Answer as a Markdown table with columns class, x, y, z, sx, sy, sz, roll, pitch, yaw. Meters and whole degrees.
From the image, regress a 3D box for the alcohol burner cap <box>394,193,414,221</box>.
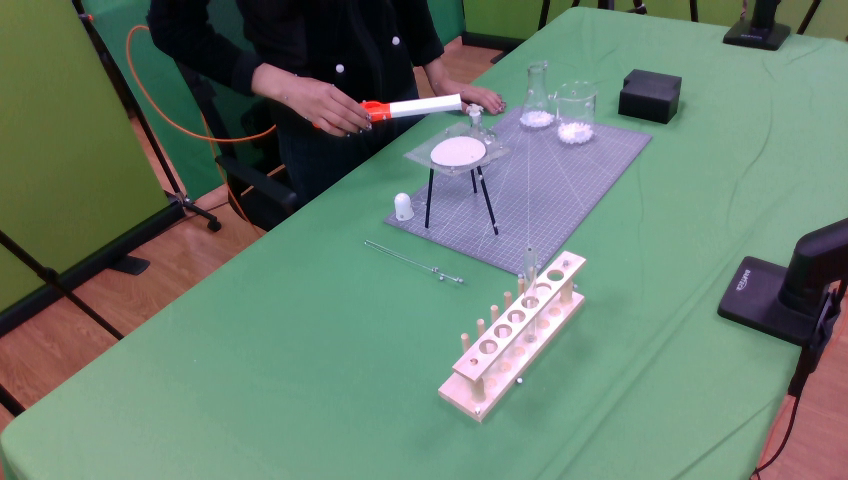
| class | x | y | z | sx | sy | sz | roll | pitch | yaw |
| --- | --- | --- | --- | --- | --- | --- | --- | --- | --- |
| alcohol burner cap | -0.036 | -0.059 | 1.040 | 0.034 | 0.048 | 0.033 | -5 | 41 | 5 |

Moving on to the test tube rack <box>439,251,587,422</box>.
| class | x | y | z | sx | sy | sz | roll | pitch | yaw |
| --- | --- | --- | --- | --- | --- | --- | --- | --- | --- |
| test tube rack | 0.118 | 0.111 | 0.780 | 0.066 | 0.085 | 0.243 | 26 | 51 | 35 |

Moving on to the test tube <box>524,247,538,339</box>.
| class | x | y | z | sx | sy | sz | roll | pitch | yaw |
| --- | --- | --- | --- | --- | --- | --- | --- | --- | --- |
| test tube | 0.133 | 0.070 | 0.749 | 0.017 | 0.151 | 0.017 | -5 | 38 | 4 |

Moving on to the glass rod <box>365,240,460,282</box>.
| class | x | y | z | sx | sy | sz | roll | pitch | yaw |
| --- | --- | --- | --- | --- | --- | --- | --- | --- | --- |
| glass rod | -0.022 | 0.032 | 0.961 | 0.198 | 0.008 | 0.008 | 21 | 49 | 35 |

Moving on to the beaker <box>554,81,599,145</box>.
| class | x | y | z | sx | sy | sz | roll | pitch | yaw |
| --- | --- | --- | --- | --- | --- | --- | --- | --- | --- |
| beaker | 0.286 | -0.237 | 1.144 | 0.084 | 0.101 | 0.073 | -17 | 40 | -7 |

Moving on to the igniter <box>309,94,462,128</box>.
| class | x | y | z | sx | sy | sz | roll | pitch | yaw |
| --- | --- | --- | --- | --- | --- | --- | --- | --- | --- |
| igniter | -0.071 | -0.232 | 1.088 | 0.276 | 0.025 | 0.057 | -7 | 49 | 2 |

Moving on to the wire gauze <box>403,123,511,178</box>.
| class | x | y | z | sx | sy | sz | roll | pitch | yaw |
| --- | --- | --- | --- | --- | --- | --- | --- | --- | --- |
| wire gauze | 0.051 | -0.140 | 0.943 | 0.125 | 0.011 | 0.120 | -30 | 43 | -24 |

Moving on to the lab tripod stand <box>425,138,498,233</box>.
| class | x | y | z | sx | sy | sz | roll | pitch | yaw |
| --- | --- | --- | --- | --- | --- | --- | --- | --- | --- |
| lab tripod stand | 0.063 | -0.091 | 0.988 | 0.148 | 0.132 | 0.147 | -6 | 39 | 6 |

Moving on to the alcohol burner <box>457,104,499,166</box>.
| class | x | y | z | sx | sy | sz | roll | pitch | yaw |
| --- | --- | --- | --- | --- | --- | --- | --- | --- | --- |
| alcohol burner | 0.099 | -0.198 | 1.124 | 0.078 | 0.119 | 0.077 | -5 | 39 | 4 |

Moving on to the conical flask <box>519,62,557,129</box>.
| class | x | y | z | sx | sy | sz | roll | pitch | yaw |
| --- | --- | --- | --- | --- | --- | --- | --- | --- | --- |
| conical flask | 0.225 | -0.288 | 1.199 | 0.075 | 0.122 | 0.075 | -6 | 40 | 5 |
